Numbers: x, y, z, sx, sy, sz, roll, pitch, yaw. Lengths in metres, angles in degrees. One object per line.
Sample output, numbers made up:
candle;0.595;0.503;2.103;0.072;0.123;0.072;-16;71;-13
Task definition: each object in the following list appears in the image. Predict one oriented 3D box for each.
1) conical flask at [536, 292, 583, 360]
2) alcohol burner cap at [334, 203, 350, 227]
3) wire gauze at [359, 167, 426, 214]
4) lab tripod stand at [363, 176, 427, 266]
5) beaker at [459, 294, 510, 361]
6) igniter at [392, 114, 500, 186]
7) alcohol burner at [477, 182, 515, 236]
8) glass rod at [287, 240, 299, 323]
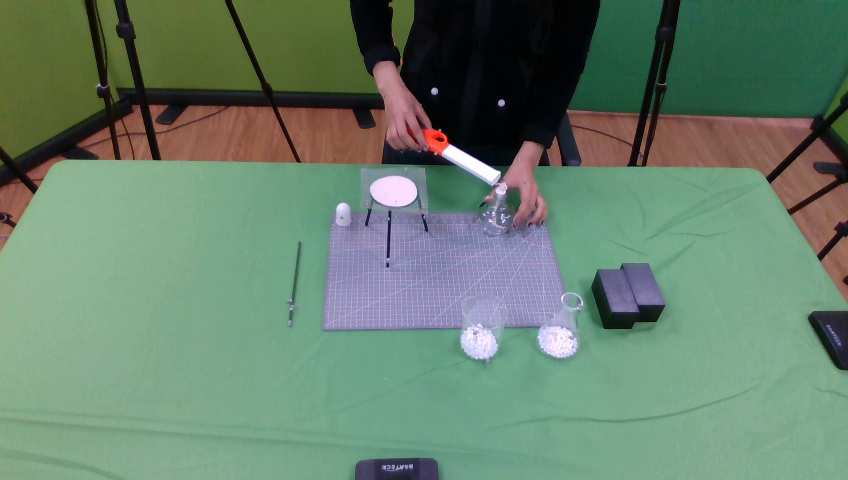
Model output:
conical flask;0.234;0.139;1.015;0.075;0.122;0.075;2;46;-2
alcohol burner cap;-0.166;-0.054;1.220;0.034;0.048;0.033;2;45;-2
wire gauze;-0.059;-0.093;1.110;0.125;0.011;0.120;2;45;-5
lab tripod stand;-0.058;-0.047;1.159;0.148;0.132;0.147;3;44;-2
beaker;0.095;0.147;1.012;0.083;0.101;0.074;26;49;21
igniter;0.037;-0.188;1.233;0.275;0.025;0.057;34;64;26
alcohol burner;0.146;-0.066;1.208;0.078;0.119;0.077;2;44;-2
glass rod;-0.242;0.072;1.119;0.008;0.008;0.198;-1;47;-5
